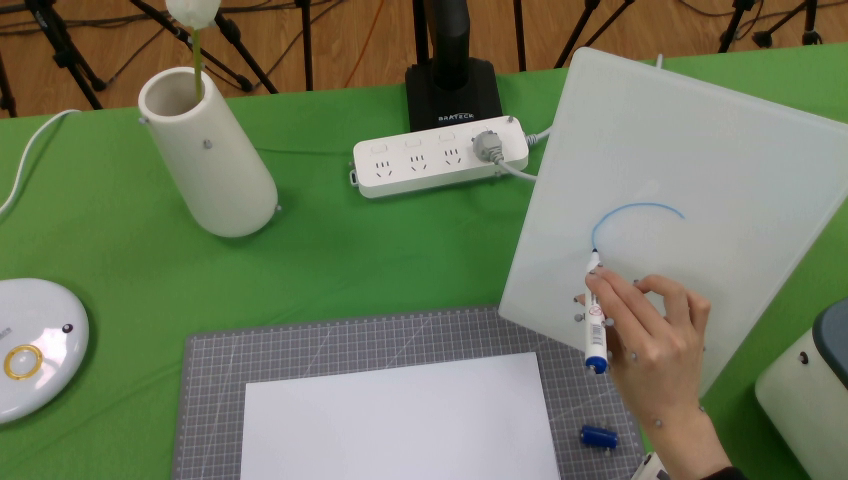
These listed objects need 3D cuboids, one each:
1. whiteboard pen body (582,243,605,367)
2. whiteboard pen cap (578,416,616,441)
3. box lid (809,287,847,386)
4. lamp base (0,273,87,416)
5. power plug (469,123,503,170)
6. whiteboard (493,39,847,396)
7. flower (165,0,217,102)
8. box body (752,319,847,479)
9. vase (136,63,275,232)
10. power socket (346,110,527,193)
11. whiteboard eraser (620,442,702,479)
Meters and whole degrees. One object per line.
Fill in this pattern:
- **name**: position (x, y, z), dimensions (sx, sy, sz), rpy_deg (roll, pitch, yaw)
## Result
- **whiteboard pen body**: position (0.138, 0.046, 0.492), dimensions (0.017, 0.017, 0.139), rpy_deg (9, 40, 8)
- **whiteboard pen cap**: position (0.165, 0.181, 0.579), dimensions (0.033, 0.018, 0.018), rpy_deg (12, 62, 6)
- **box lid**: position (0.484, 0.152, 0.418), dimensions (0.263, 0.015, 0.368), rpy_deg (-22, 63, -9)
- **lamp base**: position (-0.451, 0.064, 0.574), dimensions (0.178, 0.182, 0.160), rpy_deg (24, 64, 18)
- **power plug**: position (0.071, -0.103, 0.707), dimensions (0.035, 0.053, 0.072), rpy_deg (-1, 67, 1)
- **whiteboard**: position (0.218, -0.034, 0.569), dimensions (0.216, 0.308, 0.143), rpy_deg (22, 43, 15)
- **flower**: position (-0.210, -0.126, 0.566), dimensions (0.038, 0.363, 0.044), rpy_deg (42, 60, 4)
- **box body**: position (0.487, 0.190, 0.482), dimensions (0.254, 0.162, 0.360), rpy_deg (-22, 63, -10)
- **vase**: position (-0.228, -0.091, 0.641), dimensions (0.098, 0.201, 0.097), rpy_deg (-1, 61, 3)
- **power socket**: position (0.017, -0.108, 0.737), dimensions (0.227, 0.033, 0.071), rpy_deg (-10, 62, -4)
- **whiteboard eraser**: position (0.191, 0.239, 0.532), dimensions (0.055, 0.042, 0.112), rpy_deg (36, 68, 20)
